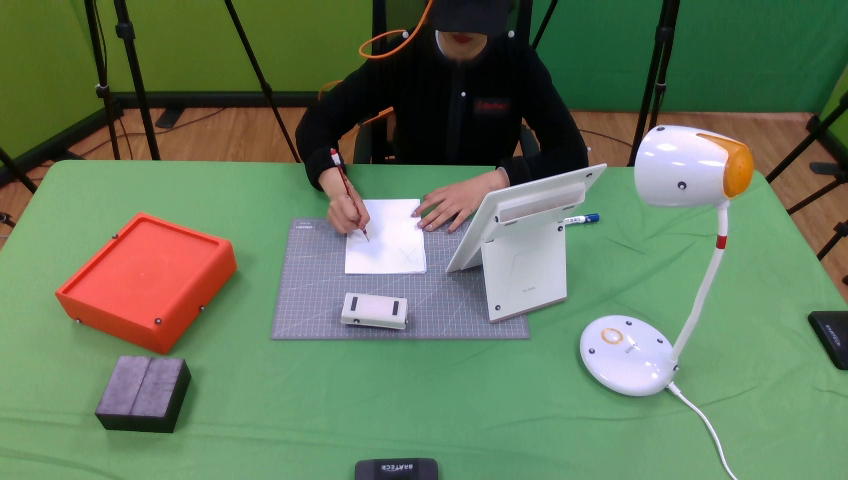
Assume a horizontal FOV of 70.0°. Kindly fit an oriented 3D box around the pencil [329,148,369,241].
[{"bbox_3d":[-0.142,-0.084,1.162,0.012,0.194,0.012,-18,19,7],"label":"pencil"}]

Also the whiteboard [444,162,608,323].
[{"bbox_3d":[0.186,0.025,1.028,0.217,0.306,0.143,-14,68,-17],"label":"whiteboard"}]

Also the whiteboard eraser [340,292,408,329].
[{"bbox_3d":[-0.087,0.125,1.052,0.113,0.042,0.055,5,45,1],"label":"whiteboard eraser"}]

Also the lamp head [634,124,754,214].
[{"bbox_3d":[0.351,-0.089,0.776,0.112,0.113,0.122,-30,30,-28],"label":"lamp head"}]

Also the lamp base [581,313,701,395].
[{"bbox_3d":[0.361,0.144,0.973,0.178,0.181,0.160,34,53,23],"label":"lamp base"}]

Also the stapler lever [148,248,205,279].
[{"bbox_3d":[-0.444,0.038,1.083,0.118,0.040,0.027,19,51,17],"label":"stapler lever"}]

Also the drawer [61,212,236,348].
[{"bbox_3d":[-0.473,0.064,1.060,0.194,0.073,0.211,18,48,11],"label":"drawer"}]

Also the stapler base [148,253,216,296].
[{"bbox_3d":[-0.443,0.058,1.108,0.130,0.024,0.041,24,53,12],"label":"stapler base"}]

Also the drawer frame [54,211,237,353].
[{"bbox_3d":[-0.473,0.067,1.055,0.201,0.083,0.212,17,48,11],"label":"drawer frame"}]

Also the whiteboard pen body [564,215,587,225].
[{"bbox_3d":[0.291,-0.040,1.261,0.141,0.017,0.017,-6,47,-11],"label":"whiteboard pen body"}]

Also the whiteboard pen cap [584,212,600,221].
[{"bbox_3d":[0.351,-0.049,1.271,0.033,0.018,0.018,-6,47,-11],"label":"whiteboard pen cap"}]
